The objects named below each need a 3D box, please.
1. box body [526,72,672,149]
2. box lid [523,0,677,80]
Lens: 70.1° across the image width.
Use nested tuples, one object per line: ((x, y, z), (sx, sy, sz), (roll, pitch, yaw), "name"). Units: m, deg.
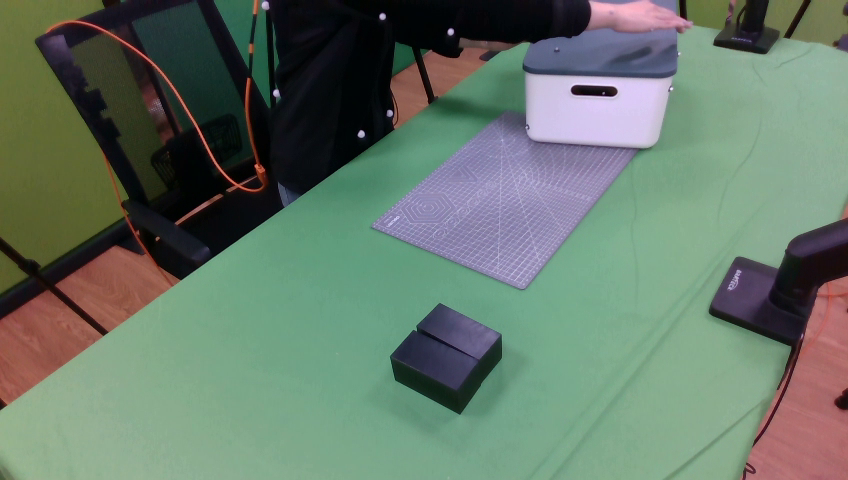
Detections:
((0.356, -0.342, 1.212), (0.253, 0.161, 0.363), (7, 42, 17), "box body")
((0.347, -0.397, 1.162), (0.262, 0.015, 0.371), (7, 42, 16), "box lid")
